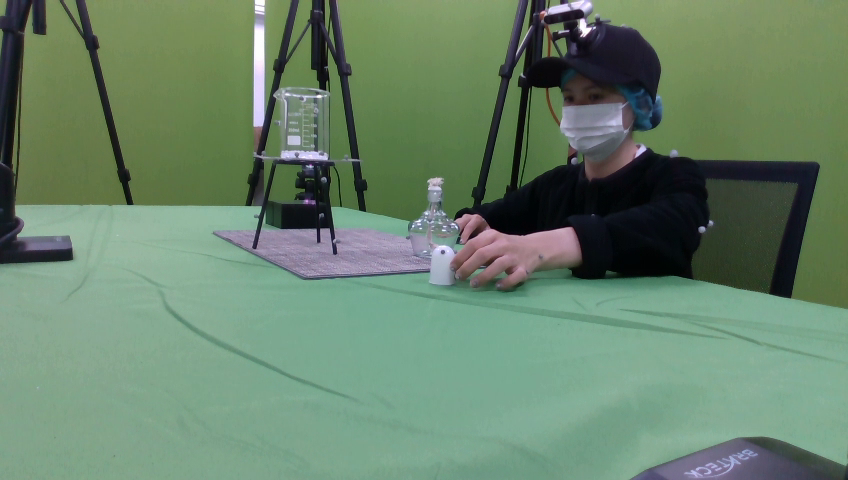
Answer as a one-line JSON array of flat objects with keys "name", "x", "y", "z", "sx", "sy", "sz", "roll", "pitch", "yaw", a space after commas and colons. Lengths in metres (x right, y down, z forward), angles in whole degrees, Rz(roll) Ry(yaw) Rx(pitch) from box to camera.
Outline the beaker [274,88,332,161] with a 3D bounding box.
[{"name": "beaker", "x": -0.177, "y": -0.165, "z": 0.879, "sx": 0.084, "sy": 0.100, "sz": 0.074, "roll": 2, "pitch": 5, "yaw": 1}]

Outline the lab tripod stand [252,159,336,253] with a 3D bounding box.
[{"name": "lab tripod stand", "x": -0.180, "y": -0.053, "z": 0.900, "sx": 0.148, "sy": 0.131, "sz": 0.148, "roll": 1, "pitch": 6, "yaw": 0}]

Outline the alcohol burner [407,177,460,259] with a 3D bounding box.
[{"name": "alcohol burner", "x": 0.015, "y": -0.032, "z": 0.882, "sx": 0.078, "sy": 0.119, "sz": 0.078, "roll": 3, "pitch": 5, "yaw": 0}]

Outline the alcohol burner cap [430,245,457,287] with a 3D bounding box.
[{"name": "alcohol burner cap", "x": 0.024, "y": 0.030, "z": 0.705, "sx": 0.034, "sy": 0.048, "sz": 0.034, "roll": 2, "pitch": 8, "yaw": 0}]

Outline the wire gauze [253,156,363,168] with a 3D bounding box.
[{"name": "wire gauze", "x": -0.172, "y": -0.117, "z": 0.891, "sx": 0.122, "sy": 0.011, "sz": 0.124, "roll": 0, "pitch": 3, "yaw": -38}]
